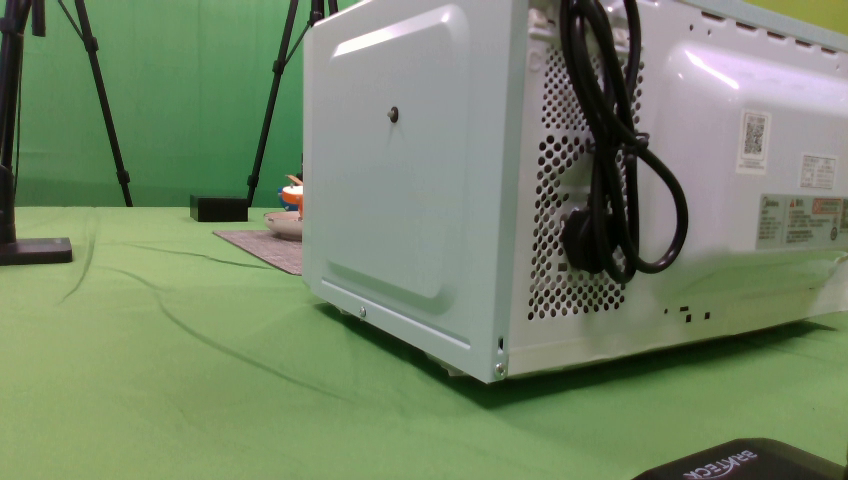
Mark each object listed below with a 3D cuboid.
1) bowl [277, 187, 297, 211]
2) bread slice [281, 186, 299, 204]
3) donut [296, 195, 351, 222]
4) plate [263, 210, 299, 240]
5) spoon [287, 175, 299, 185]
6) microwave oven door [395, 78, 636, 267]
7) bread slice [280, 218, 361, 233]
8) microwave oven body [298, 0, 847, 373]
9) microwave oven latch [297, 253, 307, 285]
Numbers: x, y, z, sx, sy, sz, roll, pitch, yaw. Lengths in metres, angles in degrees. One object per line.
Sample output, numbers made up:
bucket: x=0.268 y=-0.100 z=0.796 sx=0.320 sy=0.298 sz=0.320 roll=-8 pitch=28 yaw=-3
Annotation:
bowl: x=-0.241 y=-0.073 z=1.303 sx=0.151 sy=0.077 sz=0.151 roll=2 pitch=7 yaw=0
bread slice: x=-0.185 y=-0.082 z=1.071 sx=0.132 sy=0.019 sz=0.104 roll=-2 pitch=14 yaw=-18
donut: x=-0.179 y=-0.057 z=1.080 sx=0.099 sy=0.048 sz=0.099 roll=2 pitch=2 yaw=0
plate: x=-0.180 y=-0.026 z=1.079 sx=0.208 sy=0.039 sz=0.207 roll=3 pitch=7 yaw=0
spoon: x=-0.262 y=-0.110 z=1.342 sx=0.042 sy=0.021 sz=0.192 roll=-6 pitch=32 yaw=-34
microwave oven door: x=0.114 y=-0.103 z=0.870 sx=0.354 sy=0.243 sz=0.039 roll=7 pitch=9 yaw=33
bread slice: x=-0.187 y=-0.026 z=1.075 sx=0.135 sy=0.018 sz=0.106 roll=-1 pitch=7 yaw=-22
microwave oven body: x=0.151 y=-0.055 z=0.543 sx=0.444 sy=0.260 sz=0.324 roll=-1 pitch=7 yaw=-33
microwave oven latch: x=-0.082 y=0.027 z=0.582 sx=0.079 sy=0.029 sz=0.030 roll=-1 pitch=7 yaw=-32
